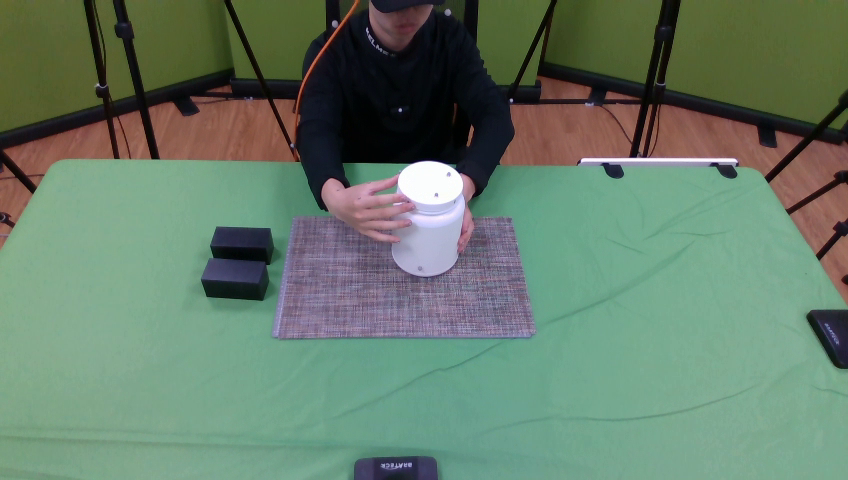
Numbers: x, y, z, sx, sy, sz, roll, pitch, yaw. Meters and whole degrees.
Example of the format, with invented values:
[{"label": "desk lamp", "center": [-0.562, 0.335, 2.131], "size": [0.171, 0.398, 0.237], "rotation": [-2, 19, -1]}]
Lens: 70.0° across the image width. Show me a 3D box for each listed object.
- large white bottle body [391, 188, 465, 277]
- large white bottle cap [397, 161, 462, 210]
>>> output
[{"label": "large white bottle body", "center": [0.005, -0.036, 1.115], "size": [0.131, 0.185, 0.130], "rotation": [2, 46, -2]}, {"label": "large white bottle cap", "center": [0.010, -0.095, 1.052], "size": [0.115, 0.018, 0.114], "rotation": [2, 46, -2]}]
